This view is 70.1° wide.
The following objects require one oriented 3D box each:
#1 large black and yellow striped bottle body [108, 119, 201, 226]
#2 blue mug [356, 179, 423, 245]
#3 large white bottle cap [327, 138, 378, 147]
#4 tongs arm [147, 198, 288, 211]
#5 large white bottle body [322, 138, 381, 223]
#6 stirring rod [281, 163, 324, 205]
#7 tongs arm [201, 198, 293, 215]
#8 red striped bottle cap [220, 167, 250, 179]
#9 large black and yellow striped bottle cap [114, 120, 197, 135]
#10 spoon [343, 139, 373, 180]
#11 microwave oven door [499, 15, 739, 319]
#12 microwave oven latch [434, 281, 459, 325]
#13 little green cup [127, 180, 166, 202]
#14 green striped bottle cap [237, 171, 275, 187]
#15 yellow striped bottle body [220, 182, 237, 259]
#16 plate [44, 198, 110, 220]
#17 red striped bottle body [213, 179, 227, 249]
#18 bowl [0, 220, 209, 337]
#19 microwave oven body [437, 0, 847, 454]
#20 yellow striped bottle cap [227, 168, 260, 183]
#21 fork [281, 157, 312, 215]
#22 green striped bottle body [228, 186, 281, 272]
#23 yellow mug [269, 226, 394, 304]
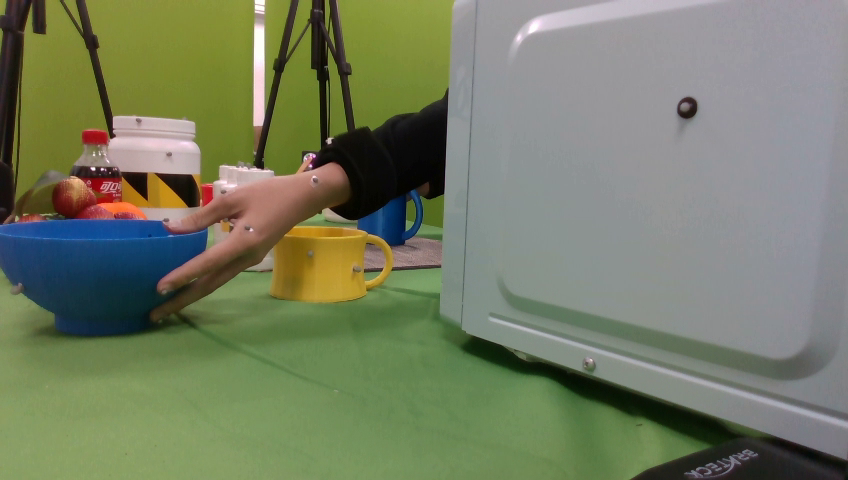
[{"bbox_3d":[-0.412,-0.088,0.930,0.131,0.184,0.130,3,7,0],"label":"large black and yellow striped bottle body"},{"bbox_3d":[-0.056,-0.046,1.005,0.116,0.106,0.082,6,8,22],"label":"blue mug"},{"bbox_3d":[-0.160,-0.218,1.357,0.115,0.018,0.115,2,8,0],"label":"large white bottle cap"},{"bbox_3d":[-0.503,-0.091,1.513,0.028,0.028,0.389,0,4,37],"label":"tongs arm"},{"bbox_3d":[-0.163,-0.135,1.368,0.131,0.184,0.130,2,7,0],"label":"large white bottle body"},{"bbox_3d":[-0.278,-0.104,1.293,0.176,0.006,0.014,-47,25,-18],"label":"stirring rod"},{"bbox_3d":[-0.423,-0.084,1.473,0.050,0.026,0.386,2,6,21],"label":"tongs arm"},{"bbox_3d":[-0.281,-0.100,0.901,0.044,0.017,0.044,0,5,0],"label":"red striped bottle cap"},{"bbox_3d":[-0.407,-0.171,0.920,0.115,0.019,0.115,2,9,0],"label":"large black and yellow striped bottle cap"},{"bbox_3d":[-0.090,-0.094,1.024,0.021,0.193,0.042,-34,-16,28],"label":"spoon"},{"bbox_3d":[0.216,-0.065,0.602,0.358,0.243,0.039,-4,11,-41],"label":"microwave oven door"},{"bbox_3d":[0.044,0.045,0.470,0.079,0.029,0.030,-3,8,-40],"label":"microwave oven latch"},{"bbox_3d":[-0.485,-0.086,1.061,0.061,0.038,0.061,1,7,0],"label":"little green cup"},{"bbox_3d":[-0.205,-0.074,0.738,0.044,0.020,0.044,1,9,0],"label":"green striped bottle cap"},{"bbox_3d":[-0.246,-0.036,0.825,0.063,0.120,0.063,2,8,0],"label":"yellow striped bottle body"},{"bbox_3d":[-0.617,-0.056,1.179,0.209,0.038,0.209,3,7,0],"label":"plate"},{"bbox_3d":[-0.284,-0.048,0.909,0.063,0.119,0.063,3,10,0],"label":"red striped bottle body"},{"bbox_3d":[-0.250,0.029,0.480,0.151,0.077,0.151,3,7,0],"label":"bowl"},{"bbox_3d":[0.279,-0.040,0.464,0.444,0.260,0.324,-3,9,-41],"label":"microwave oven body"},{"bbox_3d":[-0.243,-0.087,0.818,0.044,0.018,0.044,4,6,0],"label":"yellow striped bottle cap"},{"bbox_3d":[-0.289,-0.116,1.321,0.028,0.019,0.207,6,51,19],"label":"fork"},{"bbox_3d":[-0.208,-0.024,0.745,0.063,0.119,0.063,2,7,0],"label":"green striped bottle body"},{"bbox_3d":[-0.094,0.023,0.630,0.131,0.064,0.099,0,9,-22],"label":"yellow mug"}]
